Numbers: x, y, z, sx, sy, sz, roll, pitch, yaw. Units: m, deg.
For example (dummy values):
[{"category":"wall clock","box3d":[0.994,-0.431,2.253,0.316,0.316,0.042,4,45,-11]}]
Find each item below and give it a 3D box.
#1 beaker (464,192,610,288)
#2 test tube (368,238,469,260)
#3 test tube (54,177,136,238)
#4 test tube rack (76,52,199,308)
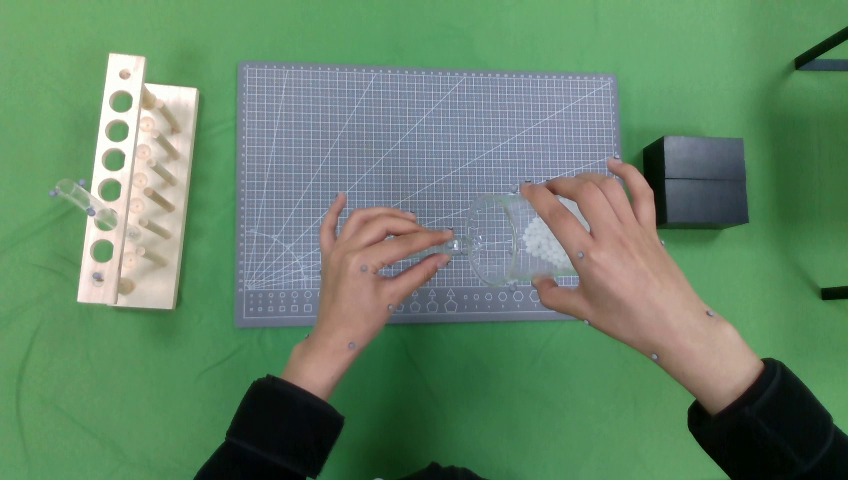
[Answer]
[{"category":"beaker","box3d":[0.091,-0.002,0.494,0.101,0.084,0.074,-4,84,-24]},{"category":"test tube","box3d":[-0.010,0.009,0.567,0.017,0.149,0.017,2,86,-36]},{"category":"test tube","box3d":[-0.300,-0.026,0.562,0.017,0.150,0.017,1,75,-5]},{"category":"test tube rack","box3d":[-0.287,-0.055,0.617,0.067,0.085,0.241,4,82,-7]}]
